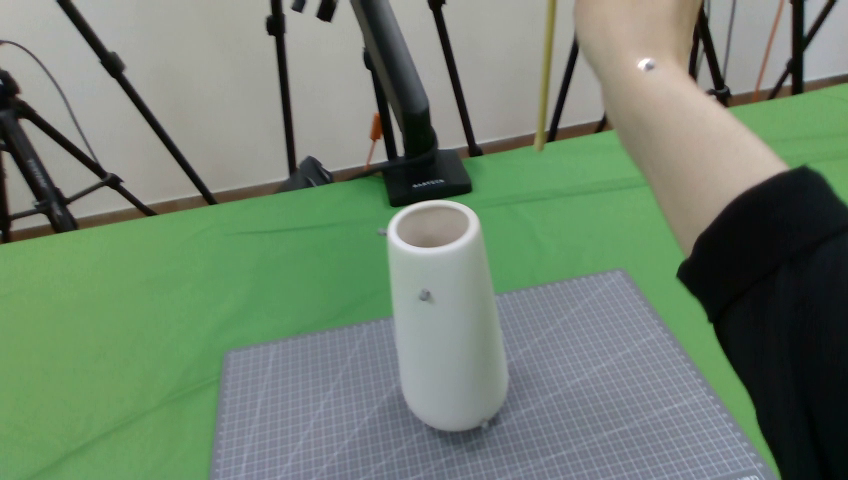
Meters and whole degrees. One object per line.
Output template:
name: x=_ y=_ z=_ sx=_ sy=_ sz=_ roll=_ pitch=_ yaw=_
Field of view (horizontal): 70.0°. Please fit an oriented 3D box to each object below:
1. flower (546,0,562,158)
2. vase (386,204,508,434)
flower: x=0.082 y=-0.230 z=0.360 sx=0.038 sy=0.363 sz=0.044 roll=-2 pitch=17 yaw=-3
vase: x=0.018 y=0.069 z=0.507 sx=0.098 sy=0.202 sz=0.097 roll=-6 pitch=35 yaw=4
